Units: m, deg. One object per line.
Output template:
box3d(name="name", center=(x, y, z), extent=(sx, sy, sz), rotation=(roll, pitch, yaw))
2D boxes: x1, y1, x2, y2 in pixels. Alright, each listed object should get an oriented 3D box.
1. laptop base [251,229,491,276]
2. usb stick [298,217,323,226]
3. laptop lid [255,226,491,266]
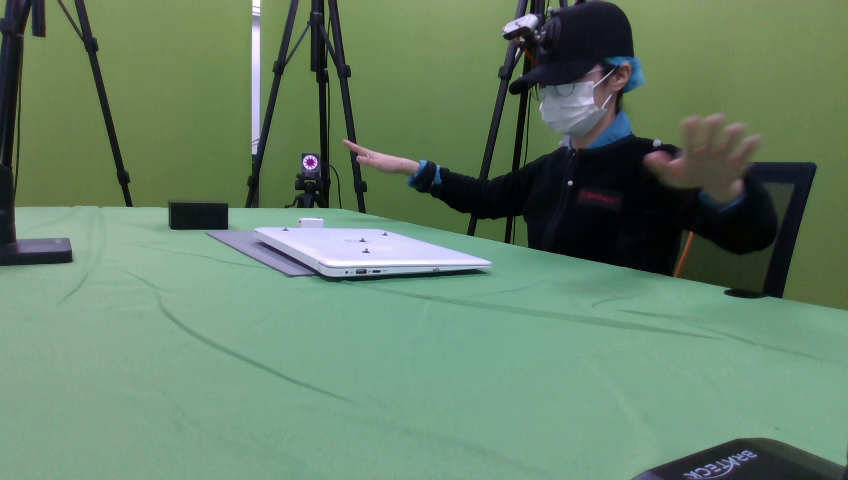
box3d(name="laptop base", center=(-0.095, 0.015, 0.889), extent=(0.237, 0.023, 0.352), rotation=(2, 7, -30))
box3d(name="usb stick", center=(-0.223, -0.030, 1.150), extent=(0.059, 0.027, 0.021), rotation=(-5, 11, -29))
box3d(name="laptop lid", center=(-0.092, 0.003, 0.889), extent=(0.243, 0.013, 0.355), rotation=(1, 8, -28))
